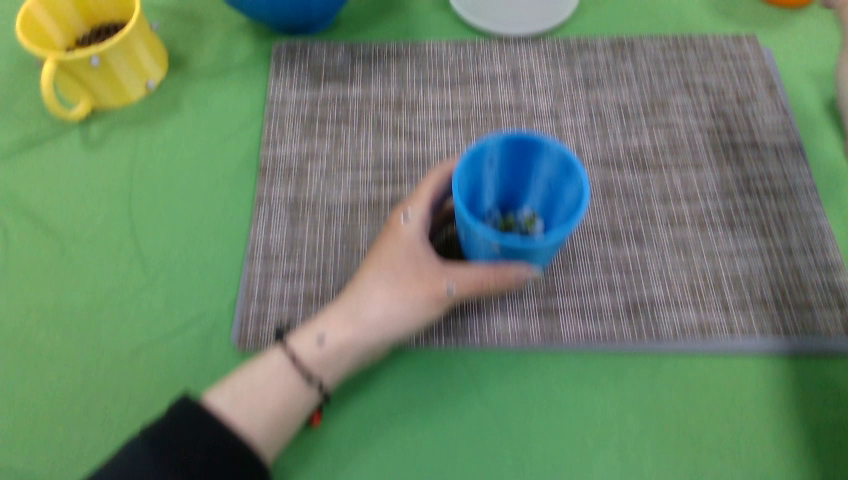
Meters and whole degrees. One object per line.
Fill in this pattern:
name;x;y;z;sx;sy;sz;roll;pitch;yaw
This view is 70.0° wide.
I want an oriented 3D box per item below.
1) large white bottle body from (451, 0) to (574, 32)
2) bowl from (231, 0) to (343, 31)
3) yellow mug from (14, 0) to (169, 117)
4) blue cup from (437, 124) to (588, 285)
large white bottle body;0.084;-0.290;0.514;0.130;0.186;0.129;0;62;0
bowl;-0.121;-0.248;0.553;0.151;0.077;0.150;0;63;0
yellow mug;-0.286;-0.163;0.515;0.100;0.064;0.130;10;64;5
blue cup;0.058;-0.015;0.415;0.092;0.101;0.092;0;64;0
